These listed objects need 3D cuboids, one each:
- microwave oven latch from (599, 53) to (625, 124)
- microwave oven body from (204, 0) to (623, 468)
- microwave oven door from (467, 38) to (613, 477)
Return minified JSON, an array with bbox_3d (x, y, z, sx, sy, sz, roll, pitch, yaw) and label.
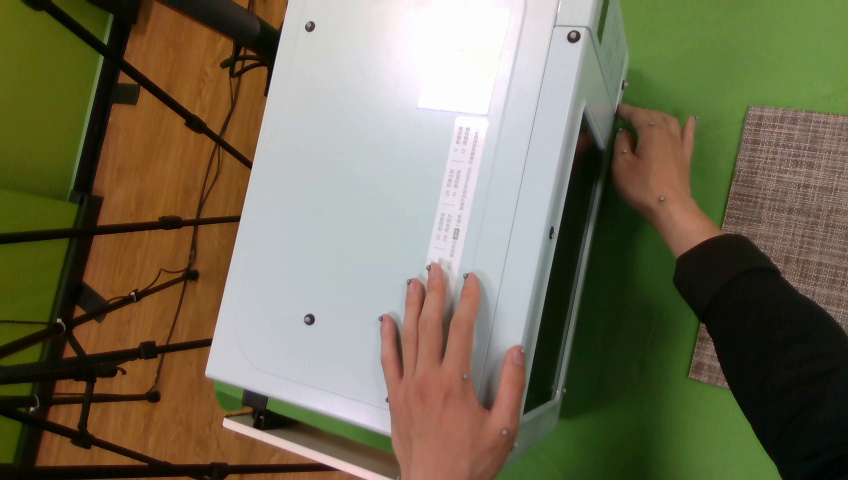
[{"bbox_3d":[0.208,-0.173,0.687,0.030,0.030,0.079,11,87,23],"label":"microwave oven latch"},{"bbox_3d":[0.000,-0.039,0.647,0.324,0.262,0.441,11,87,23],"label":"microwave oven body"},{"bbox_3d":[0.121,0.025,0.583,0.039,0.245,0.355,10,86,24],"label":"microwave oven door"}]
